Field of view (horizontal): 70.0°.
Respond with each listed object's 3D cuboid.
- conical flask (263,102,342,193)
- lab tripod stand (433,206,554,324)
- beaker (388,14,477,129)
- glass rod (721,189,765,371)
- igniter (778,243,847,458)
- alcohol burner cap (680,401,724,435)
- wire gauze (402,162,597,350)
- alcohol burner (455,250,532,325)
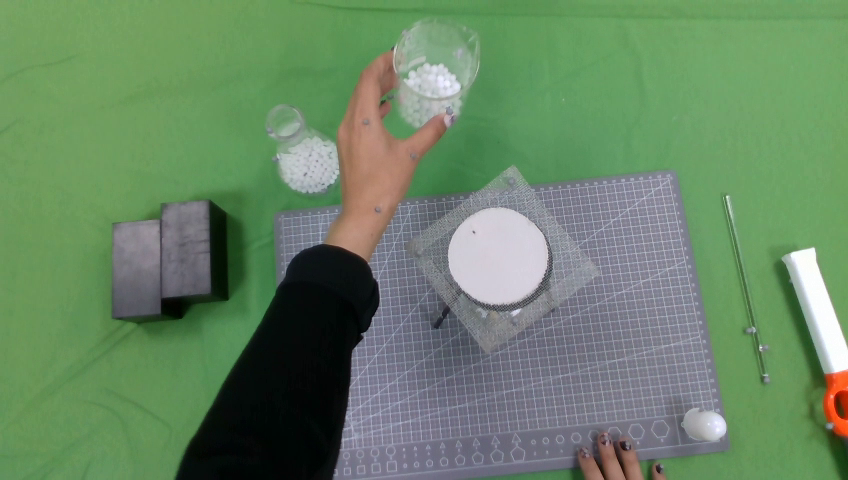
[{"bbox_3d":[-0.131,-0.101,0.628,0.075,0.122,0.075,0,77,1],"label":"conical flask"},{"bbox_3d":[0.066,0.031,0.588,0.148,0.132,0.148,0,80,1],"label":"lab tripod stand"},{"bbox_3d":[0.007,-0.151,0.559,0.084,0.100,0.074,-37,86,-8],"label":"beaker"},{"bbox_3d":[0.341,0.040,0.648,0.008,0.008,0.198,-6,78,0],"label":"glass rod"},{"bbox_3d":[0.422,0.138,0.616,0.057,0.025,0.275,-10,78,-12],"label":"igniter"},{"bbox_3d":[0.278,0.177,0.600,0.034,0.048,0.033,0,77,2],"label":"alcohol burner cap"},{"bbox_3d":[0.065,0.012,0.523,0.125,0.011,0.121,-36,81,-5],"label":"wire gauze"},{"bbox_3d":[0.070,0.043,0.596,0.078,0.119,0.077,0,76,0],"label":"alcohol burner"}]
